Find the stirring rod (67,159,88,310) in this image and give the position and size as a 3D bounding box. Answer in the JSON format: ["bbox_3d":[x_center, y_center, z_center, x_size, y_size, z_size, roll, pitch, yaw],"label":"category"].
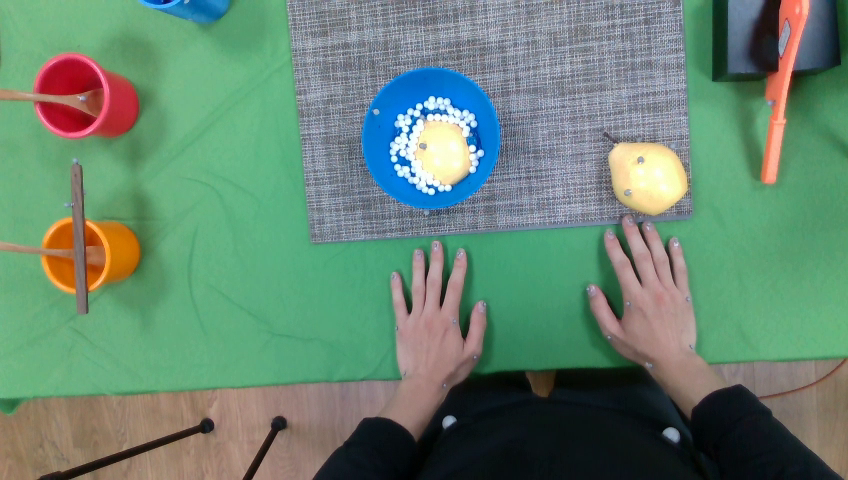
[{"bbox_3d":[-0.403,-0.006,0.705,0.014,0.006,0.176,0,96,4],"label":"stirring rod"}]

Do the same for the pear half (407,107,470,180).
[{"bbox_3d":[0.012,-0.110,0.672,0.070,0.031,0.088,-31,86,7],"label":"pear half"}]

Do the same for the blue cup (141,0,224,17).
[{"bbox_3d":[-0.277,-0.298,0.689,0.092,0.100,0.092,1,95,9],"label":"blue cup"}]

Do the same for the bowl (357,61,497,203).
[{"bbox_3d":[0.008,-0.117,0.678,0.151,0.077,0.151,1,95,7],"label":"bowl"}]

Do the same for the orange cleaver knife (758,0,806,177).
[{"bbox_3d":[0.366,-0.170,0.630,0.012,0.076,0.213,-1,123,13],"label":"orange cleaver knife"}]

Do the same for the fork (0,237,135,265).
[{"bbox_3d":[-0.454,0.006,0.714,0.209,0.018,0.028,10,107,-38],"label":"fork"}]

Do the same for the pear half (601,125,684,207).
[{"bbox_3d":[0.235,-0.088,0.668,0.109,0.056,0.076,45,93,5],"label":"pear half"}]

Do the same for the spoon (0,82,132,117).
[{"bbox_3d":[-0.446,-0.170,0.701,0.195,0.021,0.041,-2,99,-36],"label":"spoon"}]
